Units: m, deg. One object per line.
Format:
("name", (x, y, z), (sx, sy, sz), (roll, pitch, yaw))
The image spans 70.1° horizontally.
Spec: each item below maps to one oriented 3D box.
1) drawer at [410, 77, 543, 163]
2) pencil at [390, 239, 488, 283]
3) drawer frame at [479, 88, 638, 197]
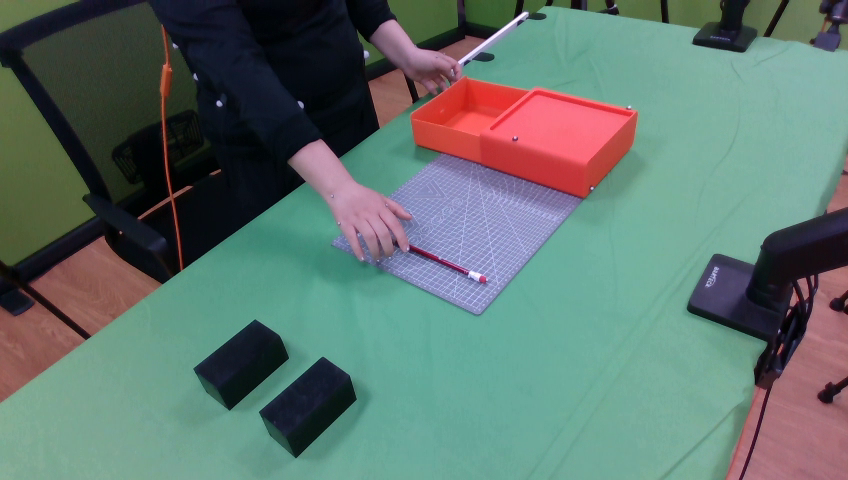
("drawer", (0.114, -0.235, 1.186), (0.210, 0.073, 0.195), (21, 46, 32))
("pencil", (0.019, 0.029, 0.938), (0.192, 0.012, 0.012), (22, 48, 34))
("drawer frame", (0.243, -0.184, 1.100), (0.212, 0.083, 0.202), (23, 48, 30))
